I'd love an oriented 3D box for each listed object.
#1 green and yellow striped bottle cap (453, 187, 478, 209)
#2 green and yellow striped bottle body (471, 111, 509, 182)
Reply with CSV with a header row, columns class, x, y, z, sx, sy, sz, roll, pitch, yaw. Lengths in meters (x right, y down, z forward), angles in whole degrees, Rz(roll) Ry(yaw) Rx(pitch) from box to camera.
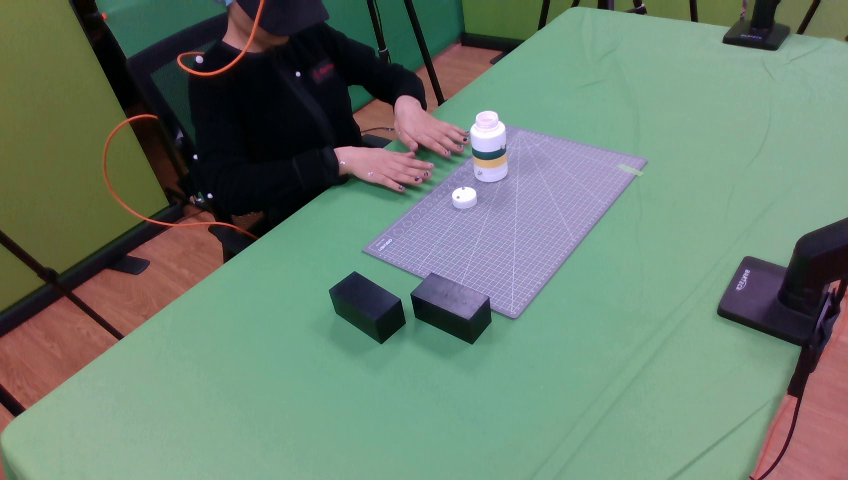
class,x,y,z,sx,sy,sz,roll,pitch,yaw
green and yellow striped bottle cap,0.072,-0.074,1.057,0.045,0.020,0.045,-7,39,6
green and yellow striped bottle body,0.117,-0.169,1.079,0.063,0.120,0.063,-6,40,5
